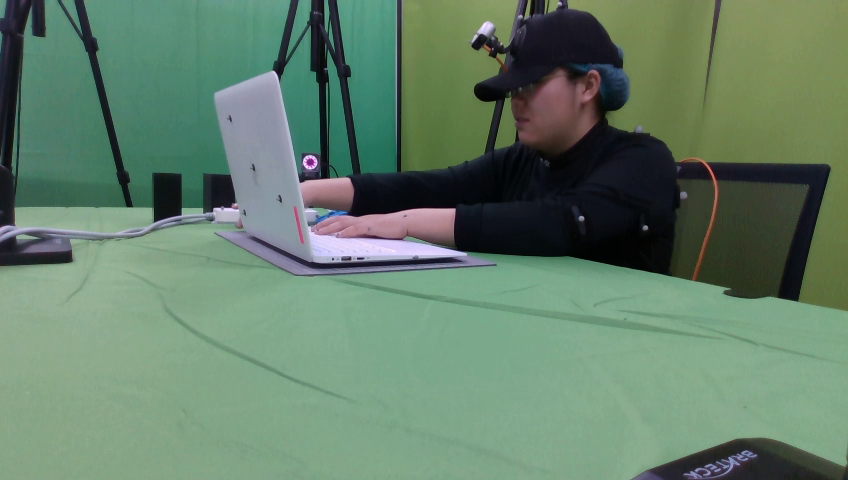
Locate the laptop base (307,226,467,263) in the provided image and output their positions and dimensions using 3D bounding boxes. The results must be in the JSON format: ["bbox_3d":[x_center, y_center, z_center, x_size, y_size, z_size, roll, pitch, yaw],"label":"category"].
[{"bbox_3d":[-0.123,0.007,0.954,0.237,0.023,0.352,4,5,-31],"label":"laptop base"}]

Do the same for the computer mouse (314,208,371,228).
[{"bbox_3d":[-0.173,-0.046,1.285,0.118,0.041,0.062,-6,11,-29],"label":"computer mouse"}]

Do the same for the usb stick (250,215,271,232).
[{"bbox_3d":[-0.290,-0.029,1.080,0.021,0.027,0.059,-6,15,-36],"label":"usb stick"}]

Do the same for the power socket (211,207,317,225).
[{"bbox_3d":[-0.334,-0.051,1.282,0.228,0.032,0.072,-1,9,-28],"label":"power socket"}]

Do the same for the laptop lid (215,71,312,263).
[{"bbox_3d":[-0.241,-0.105,0.868,0.013,0.241,0.355,-15,16,-28],"label":"laptop lid"}]

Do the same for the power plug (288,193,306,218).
[{"bbox_3d":[-0.281,-0.076,1.340,0.035,0.052,0.072,4,5,-18],"label":"power plug"}]
